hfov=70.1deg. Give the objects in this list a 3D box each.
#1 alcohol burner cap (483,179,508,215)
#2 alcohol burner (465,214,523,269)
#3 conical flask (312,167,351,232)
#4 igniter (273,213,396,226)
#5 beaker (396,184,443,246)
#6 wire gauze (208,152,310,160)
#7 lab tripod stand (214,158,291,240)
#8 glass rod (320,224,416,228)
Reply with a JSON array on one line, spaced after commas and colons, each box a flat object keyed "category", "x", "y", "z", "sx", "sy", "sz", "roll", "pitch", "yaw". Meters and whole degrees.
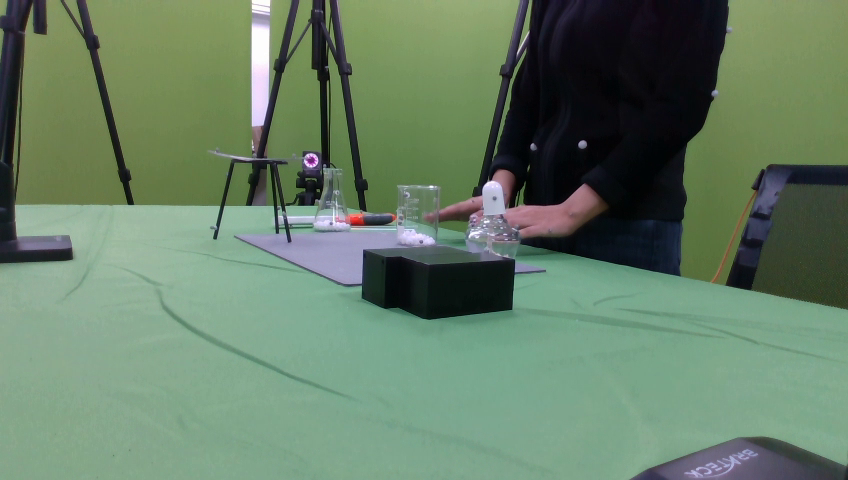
[{"category": "alcohol burner cap", "x": 0.094, "y": -0.057, "z": 0.810, "sx": 0.034, "sy": 0.048, "sz": 0.034, "roll": -7, "pitch": 6, "yaw": 1}, {"category": "alcohol burner", "x": 0.094, "y": -0.022, "z": 0.815, "sx": 0.078, "sy": 0.119, "sz": 0.078, "roll": 0, "pitch": 7, "yaw": 0}, {"category": "conical flask", "x": -0.176, "y": -0.078, "z": 1.162, "sx": 0.075, "sy": 0.122, "sz": 0.075, "roll": 3, "pitch": 7, "yaw": 0}, {"category": "igniter", "x": -0.179, "y": -0.044, "z": 1.258, "sx": 0.278, "sy": 0.025, "sz": 0.057, "roll": -3, "pitch": -2, "yaw": -39}, {"category": "beaker", "x": -0.011, "y": -0.043, "z": 1.004, "sx": 0.083, "sy": 0.100, "sz": 0.074, "roll": 8, "pitch": 9, "yaw": 38}, {"category": "wire gauze", "x": -0.270, "y": -0.135, "z": 0.993, "sx": 0.124, "sy": 0.011, "sz": 0.122, "roll": 9, "pitch": 8, "yaw": 41}, {"category": "lab tripod stand", "x": -0.268, "y": -0.068, "z": 1.002, "sx": 0.148, "sy": 0.131, "sz": 0.148, "roll": 3, "pitch": 6, "yaw": 0}, {"category": "glass rod", "x": -0.113, "y": -0.028, "z": 1.236, "sx": 0.200, "sy": 0.008, "sz": 0.008, "roll": 0, "pitch": 7, "yaw": -18}]
